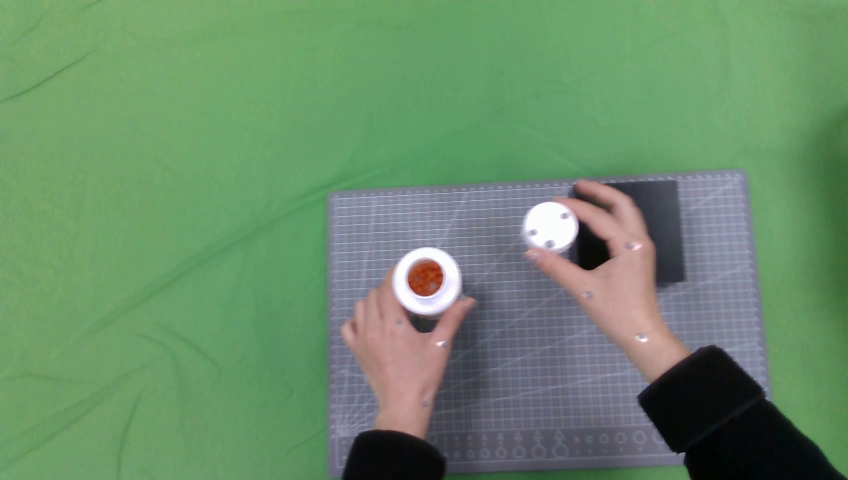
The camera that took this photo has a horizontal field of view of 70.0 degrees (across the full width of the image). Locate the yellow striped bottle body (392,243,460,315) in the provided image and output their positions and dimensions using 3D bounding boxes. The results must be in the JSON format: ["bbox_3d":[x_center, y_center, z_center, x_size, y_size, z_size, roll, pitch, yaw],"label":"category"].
[{"bbox_3d":[0.004,0.039,0.584,0.063,0.120,0.062,0,81,3],"label":"yellow striped bottle body"}]

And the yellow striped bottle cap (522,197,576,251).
[{"bbox_3d":[0.107,-0.014,0.518,0.044,0.019,0.044,-1,74,4],"label":"yellow striped bottle cap"}]
